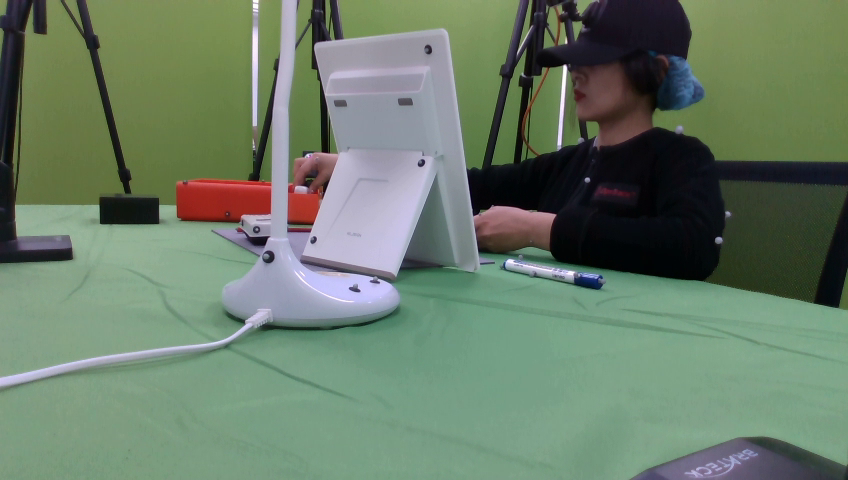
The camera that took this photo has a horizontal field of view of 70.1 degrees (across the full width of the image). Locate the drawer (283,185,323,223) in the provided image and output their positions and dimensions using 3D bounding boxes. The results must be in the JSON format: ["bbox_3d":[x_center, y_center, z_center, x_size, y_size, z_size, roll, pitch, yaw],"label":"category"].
[{"bbox_3d":[-0.329,-0.085,1.325,0.212,0.073,0.194,1,9,-7],"label":"drawer"}]

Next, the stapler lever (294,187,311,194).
[{"bbox_3d":[-0.263,-0.101,1.314,0.027,0.040,0.118,8,13,-6],"label":"stapler lever"}]

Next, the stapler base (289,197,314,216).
[{"bbox_3d":[-0.266,-0.077,1.318,0.041,0.024,0.130,8,13,-6],"label":"stapler base"}]

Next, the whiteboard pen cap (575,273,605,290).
[{"bbox_3d":[0.197,0.048,0.719,0.018,0.018,0.033,-4,11,-41],"label":"whiteboard pen cap"}]

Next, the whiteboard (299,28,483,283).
[{"bbox_3d":[-0.075,-0.082,0.741,0.216,0.305,0.144,9,30,38],"label":"whiteboard"}]

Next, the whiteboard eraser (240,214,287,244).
[{"bbox_3d":[-0.256,-0.018,0.958,0.056,0.042,0.112,0,8,-25],"label":"whiteboard eraser"}]

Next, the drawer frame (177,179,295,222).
[{"bbox_3d":[-0.397,-0.088,1.315,0.214,0.082,0.201,1,8,-7],"label":"drawer frame"}]

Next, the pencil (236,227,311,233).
[{"bbox_3d":[-0.239,-0.017,1.093,0.195,0.012,0.012,1,7,-27],"label":"pencil"}]

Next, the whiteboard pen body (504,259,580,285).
[{"bbox_3d":[0.157,0.042,0.764,0.017,0.017,0.140,-4,11,-41],"label":"whiteboard pen body"}]

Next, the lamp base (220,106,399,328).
[{"bbox_3d":[-0.101,-0.023,0.531,0.160,0.180,0.179,4,10,10],"label":"lamp base"}]
